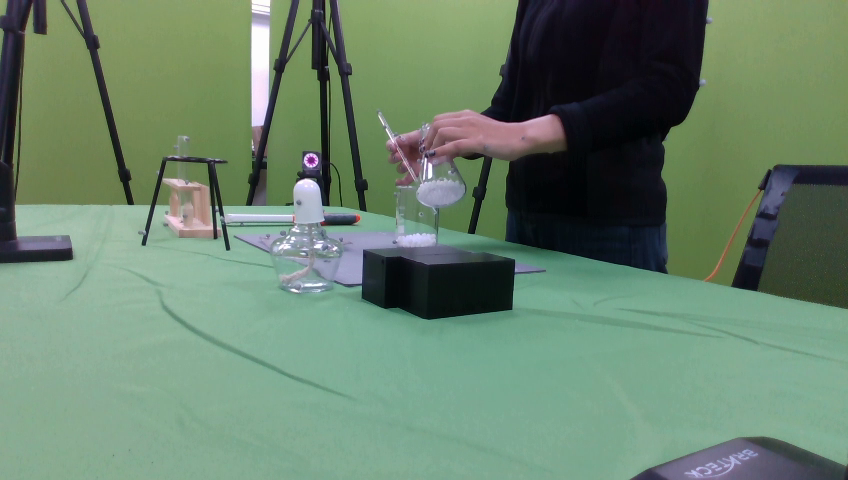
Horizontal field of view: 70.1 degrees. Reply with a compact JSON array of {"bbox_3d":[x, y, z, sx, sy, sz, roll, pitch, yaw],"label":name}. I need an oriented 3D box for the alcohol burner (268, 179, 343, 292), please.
[{"bbox_3d":[-0.124,-0.005,0.637,0.078,0.119,0.078,4,8,0],"label":"alcohol burner"}]

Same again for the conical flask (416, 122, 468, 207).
[{"bbox_3d":[0.020,-0.116,0.895,0.075,0.121,0.075,-6,-28,-3],"label":"conical flask"}]

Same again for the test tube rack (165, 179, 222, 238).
[{"bbox_3d":[-0.423,-0.062,1.098,0.067,0.085,0.241,-2,9,-28],"label":"test tube rack"}]

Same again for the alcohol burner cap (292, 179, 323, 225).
[{"bbox_3d":[-0.124,-0.040,0.632,0.034,0.048,0.034,-3,10,1],"label":"alcohol burner cap"}]

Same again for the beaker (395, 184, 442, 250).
[{"bbox_3d":[-0.009,-0.038,0.968,0.074,0.100,0.084,6,8,21],"label":"beaker"}]

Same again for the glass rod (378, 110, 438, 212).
[{"bbox_3d":[-0.028,-0.129,0.971,0.008,0.199,0.008,-27,-15,-8],"label":"glass rod"}]

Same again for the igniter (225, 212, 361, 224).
[{"bbox_3d":[-0.262,-0.045,1.240,0.278,0.025,0.057,-2,-1,-31],"label":"igniter"}]

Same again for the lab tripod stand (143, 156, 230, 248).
[{"bbox_3d":[-0.338,-0.058,0.908,0.148,0.131,0.148,4,7,0],"label":"lab tripod stand"}]

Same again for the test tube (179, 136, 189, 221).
[{"bbox_3d":[-0.425,-0.108,1.070,0.017,0.150,0.017,4,9,0],"label":"test tube"}]

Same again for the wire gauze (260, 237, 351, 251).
[{"bbox_3d":[-0.184,0.004,0.938,0.122,0.011,0.124,-1,5,-24],"label":"wire gauze"}]
